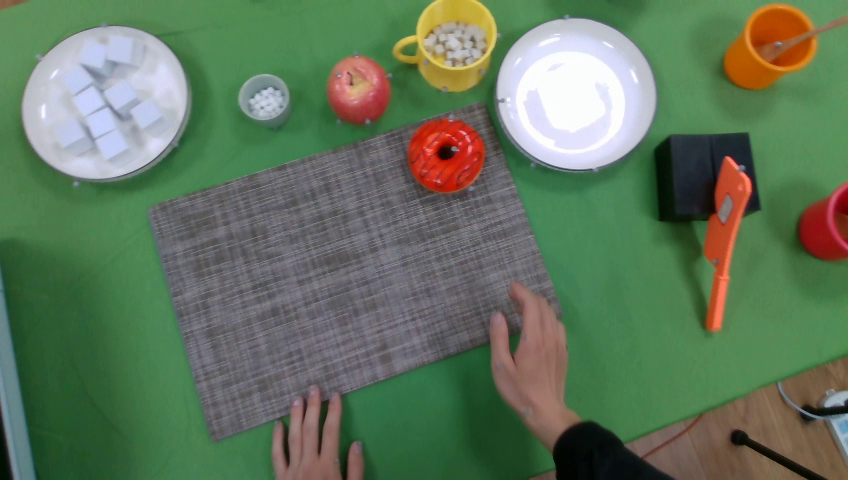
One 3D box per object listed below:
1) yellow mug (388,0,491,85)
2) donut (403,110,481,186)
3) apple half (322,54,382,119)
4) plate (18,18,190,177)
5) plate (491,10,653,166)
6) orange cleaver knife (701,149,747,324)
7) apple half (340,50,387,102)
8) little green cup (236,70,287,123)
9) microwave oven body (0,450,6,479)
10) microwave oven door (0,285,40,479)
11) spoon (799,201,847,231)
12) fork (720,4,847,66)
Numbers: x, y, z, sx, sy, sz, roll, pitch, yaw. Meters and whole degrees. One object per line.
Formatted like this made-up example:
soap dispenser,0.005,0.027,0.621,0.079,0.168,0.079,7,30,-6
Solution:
yellow mug,0.018,-0.256,0.780,0.131,0.064,0.099,-8,80,-2
donut,0.022,-0.116,0.764,0.099,0.048,0.098,0,82,1
apple half,-0.097,-0.184,0.762,0.081,0.075,0.053,44,87,2
plate,-0.399,-0.177,0.771,0.208,0.039,0.207,0,80,-1
plate,0.189,-0.194,0.788,0.209,0.038,0.208,0,80,-1
orange cleaver knife,0.354,-0.001,0.734,0.012,0.076,0.212,0,112,1
apple half,-0.070,-0.212,0.767,0.081,0.081,0.033,44,87,6
little green cup,-0.205,-0.181,0.776,0.061,0.039,0.061,0,80,-1
microwave oven body,-0.621,0.205,0.584,0.326,0.261,0.440,-16,82,-5
microwave oven door,-0.469,0.204,0.583,0.039,0.244,0.354,-16,81,-4
spoon,0.551,-0.015,0.714,0.192,0.022,0.041,18,71,47
fork,0.478,-0.267,0.751,0.207,0.019,0.028,-19,77,40
